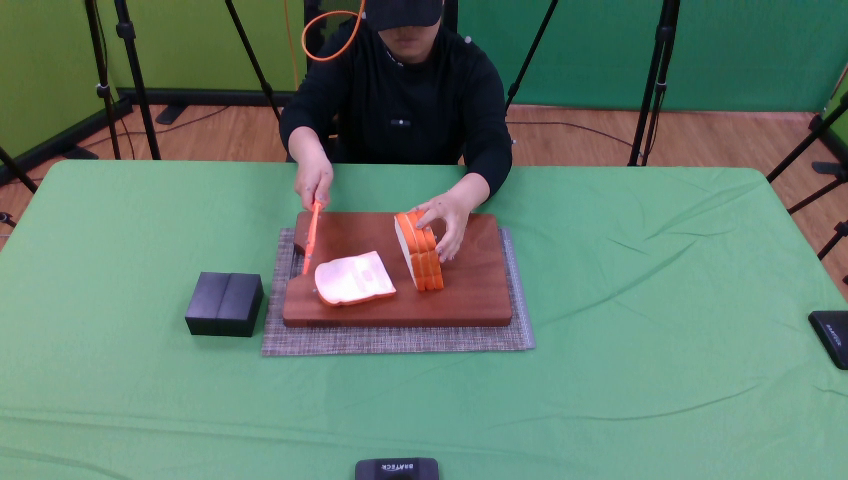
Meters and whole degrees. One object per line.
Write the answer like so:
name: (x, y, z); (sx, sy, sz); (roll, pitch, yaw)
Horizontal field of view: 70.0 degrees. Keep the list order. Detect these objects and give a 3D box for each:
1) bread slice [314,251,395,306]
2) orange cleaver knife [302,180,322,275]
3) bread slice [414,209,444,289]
bread slice: (-0.130, 0.071, 1.077); (0.132, 0.019, 0.104); (-11, 49, -20)
orange cleaver knife: (-0.199, -0.026, 1.069); (0.012, 0.077, 0.210); (13, 38, -13)
bread slice: (0.007, 0.012, 1.075); (0.018, 0.135, 0.106); (-17, 51, -6)
